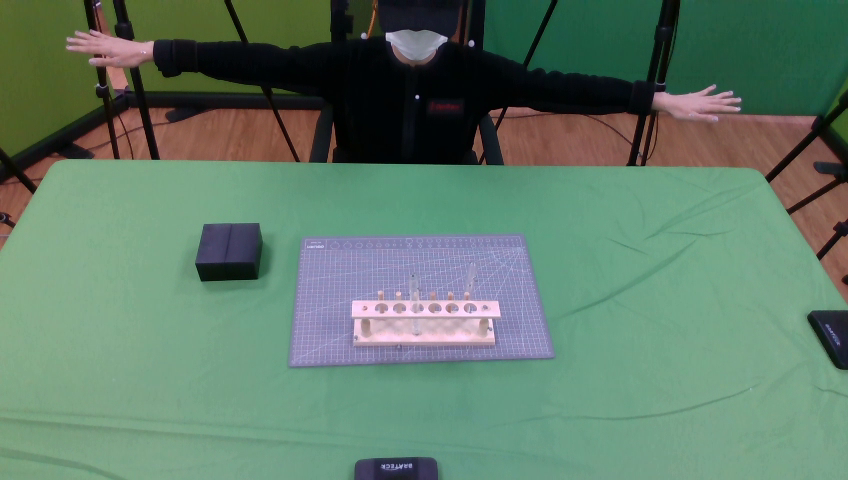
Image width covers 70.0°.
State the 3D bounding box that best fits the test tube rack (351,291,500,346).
[{"bbox_3d":[0.000,0.129,1.026,0.242,0.085,0.066,1,46,-4],"label":"test tube rack"}]

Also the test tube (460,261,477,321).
[{"bbox_3d":[0.073,0.087,1.010,0.017,0.151,0.017,2,47,-2],"label":"test tube"}]

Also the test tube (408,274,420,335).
[{"bbox_3d":[-0.016,0.107,0.977,0.017,0.151,0.017,0,48,1],"label":"test tube"}]
